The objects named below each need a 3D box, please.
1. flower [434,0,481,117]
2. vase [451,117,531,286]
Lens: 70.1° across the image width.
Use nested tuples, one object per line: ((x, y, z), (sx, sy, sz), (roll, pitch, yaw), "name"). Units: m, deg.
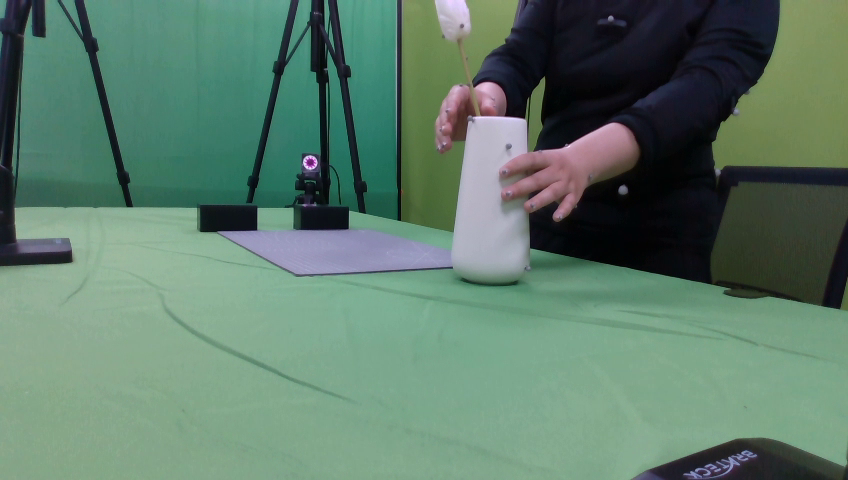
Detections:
((0.071, -0.129, 0.736), (0.038, 0.361, 0.044), (-14, -1, 23), "flower")
((0.083, -0.047, 0.737), (0.098, 0.200, 0.098), (1, 6, 0), "vase")
